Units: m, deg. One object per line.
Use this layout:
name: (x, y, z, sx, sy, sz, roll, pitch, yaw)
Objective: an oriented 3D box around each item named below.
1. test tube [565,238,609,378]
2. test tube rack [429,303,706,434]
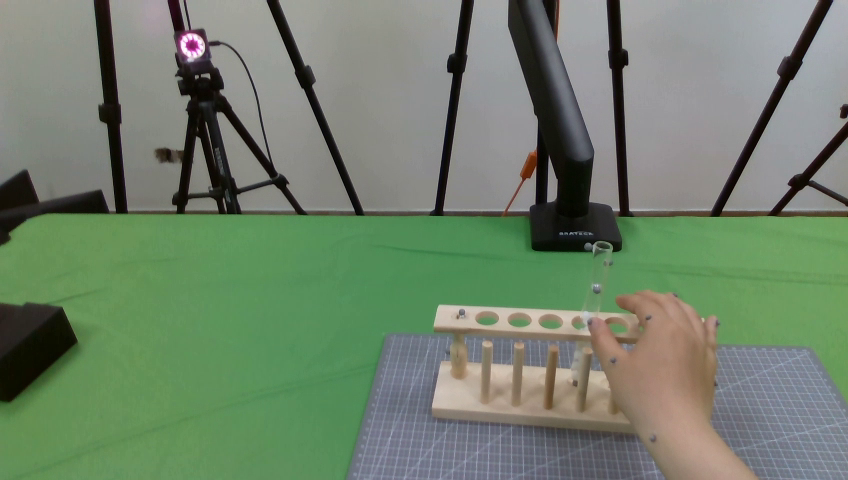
test tube: (0.146, 0.066, 0.547, 0.017, 0.151, 0.017, 2, 30, -1)
test tube rack: (0.127, 0.116, 0.561, 0.242, 0.086, 0.066, 2, 32, 9)
